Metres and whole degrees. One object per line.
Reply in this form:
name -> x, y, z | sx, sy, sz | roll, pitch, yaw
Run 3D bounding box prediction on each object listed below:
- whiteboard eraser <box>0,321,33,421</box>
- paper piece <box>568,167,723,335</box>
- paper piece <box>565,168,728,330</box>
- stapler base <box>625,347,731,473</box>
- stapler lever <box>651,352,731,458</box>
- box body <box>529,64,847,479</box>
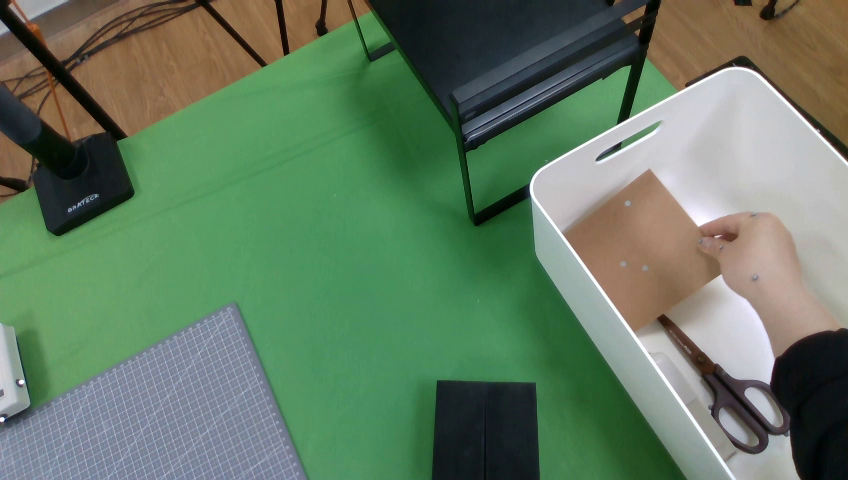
whiteboard eraser -> -0.504, 0.156, 0.720 | 0.055, 0.042, 0.111 | -30, 67, -4
paper piece -> 0.235, 0.013, 0.669 | 0.009, 0.136, 0.137 | 1, 53, -39
paper piece -> 0.224, 0.014, 0.652 | 0.135, 0.004, 0.134 | -41, 65, 22
stapler base -> 0.256, 0.169, 0.612 | 0.041, 0.024, 0.129 | -33, 74, 1
stapler lever -> 0.253, 0.163, 0.587 | 0.027, 0.040, 0.117 | -33, 74, 1
box body -> 0.295, 0.050, 0.581 | 0.254, 0.162, 0.361 | -29, 66, -4
